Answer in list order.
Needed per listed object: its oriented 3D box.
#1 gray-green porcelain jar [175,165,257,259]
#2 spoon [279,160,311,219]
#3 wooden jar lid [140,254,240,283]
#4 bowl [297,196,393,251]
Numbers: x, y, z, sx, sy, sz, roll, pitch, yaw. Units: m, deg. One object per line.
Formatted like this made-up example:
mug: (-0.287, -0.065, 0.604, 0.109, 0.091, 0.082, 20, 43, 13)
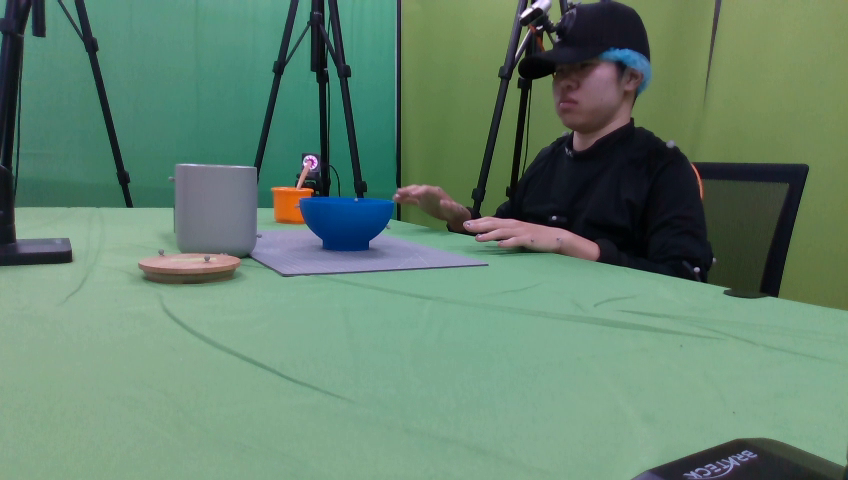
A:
gray-green porcelain jar: (-0.286, -0.039, 0.837, 0.106, 0.126, 0.106, 2, 7, 0)
spoon: (-0.285, -0.117, 1.371, 0.041, 0.193, 0.022, 4, -37, 10)
wooden jar lid: (-0.269, 0.033, 0.698, 0.108, 0.020, 0.108, 2, 5, 0)
bowl: (-0.125, -0.026, 0.958, 0.151, 0.077, 0.151, 2, 7, 0)
